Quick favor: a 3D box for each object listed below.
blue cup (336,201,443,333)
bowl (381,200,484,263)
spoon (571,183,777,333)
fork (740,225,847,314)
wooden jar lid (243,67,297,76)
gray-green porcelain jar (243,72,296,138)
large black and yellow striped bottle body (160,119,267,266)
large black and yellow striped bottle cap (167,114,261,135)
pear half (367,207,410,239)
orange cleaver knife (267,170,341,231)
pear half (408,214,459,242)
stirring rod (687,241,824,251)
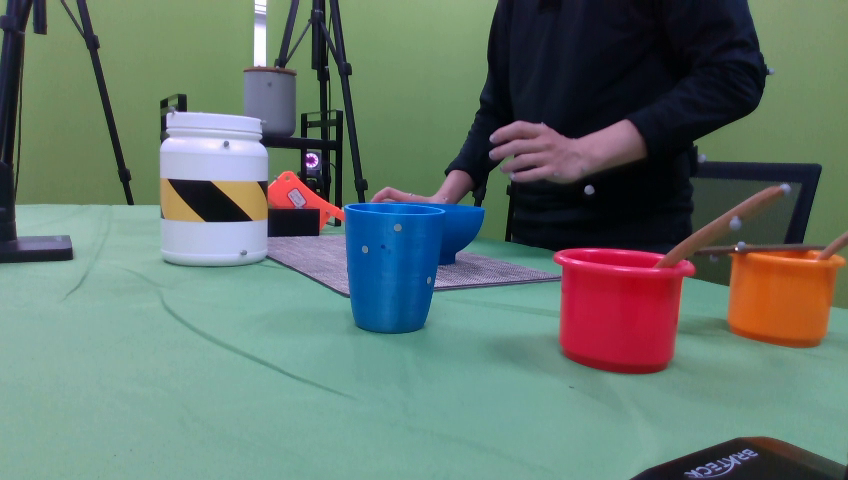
[{"bbox_3d":[-0.029,0.021,0.508,0.093,0.100,0.092,3,9,0],"label":"blue cup"},{"bbox_3d":[0.008,-0.012,0.842,0.151,0.077,0.151,2,8,0],"label":"bowl"},{"bbox_3d":[0.161,0.020,0.413,0.042,0.021,0.193,1,-36,-24],"label":"spoon"},{"bbox_3d":[0.323,0.013,0.485,0.028,0.018,0.207,8,-37,-6],"label":"fork"},{"bbox_3d":[-0.319,-0.342,1.254,0.108,0.020,0.108,3,8,0],"label":"wooden jar lid"},{"bbox_3d":[-0.322,-0.279,1.263,0.106,0.126,0.106,3,8,0],"label":"gray-green porcelain jar"},{"bbox_3d":[-0.272,-0.065,0.789,0.131,0.184,0.130,2,7,0],"label":"large black and yellow striped bottle body"},{"bbox_3d":[-0.269,-0.148,0.779,0.115,0.019,0.115,4,8,0],"label":"large black and yellow striped bottle cap"},{"bbox_3d":[-0.067,-0.027,1.057,0.076,0.056,0.110,-1,9,19],"label":"pear half"},{"bbox_3d":[-0.201,-0.057,1.136,0.212,0.077,0.012,31,-3,-31],"label":"orange cleaver knife"},{"bbox_3d":[0.011,-0.019,0.848,0.070,0.031,0.088,6,12,32],"label":"pear half"},{"bbox_3d":[0.290,0.005,0.525,0.177,0.006,0.014,-1,5,-26],"label":"stirring rod"}]
